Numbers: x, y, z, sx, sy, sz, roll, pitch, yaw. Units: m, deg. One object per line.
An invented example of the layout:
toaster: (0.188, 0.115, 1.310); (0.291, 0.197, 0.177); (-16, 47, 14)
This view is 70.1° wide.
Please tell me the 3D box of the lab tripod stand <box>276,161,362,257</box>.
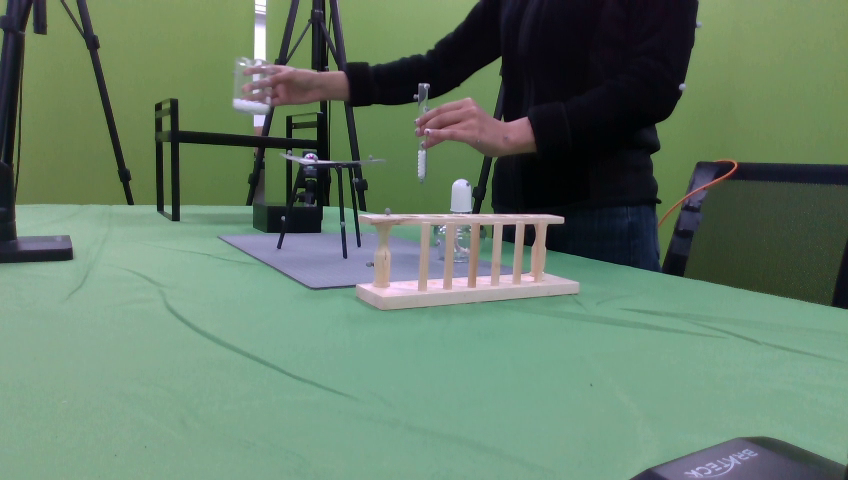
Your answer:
lab tripod stand: (-0.143, -0.049, 0.884); (0.148, 0.131, 0.148); (2, 9, 0)

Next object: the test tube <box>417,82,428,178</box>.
test tube: (-0.003, -0.173, 0.961); (0.017, 0.150, 0.017); (1, 9, 0)

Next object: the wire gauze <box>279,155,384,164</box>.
wire gauze: (-0.134, -0.114, 0.875); (0.122, 0.011, 0.124); (-1, 9, -30)

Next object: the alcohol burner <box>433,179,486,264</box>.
alcohol burner: (0.051, -0.027, 0.863); (0.078, 0.119, 0.078); (2, 6, 0)

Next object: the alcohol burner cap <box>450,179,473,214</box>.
alcohol burner cap: (0.053, -0.062, 0.859); (0.034, 0.048, 0.034); (0, 15, 0)

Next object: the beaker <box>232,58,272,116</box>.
beaker: (-0.340, -0.300, 1.188); (0.074, 0.100, 0.084); (3, 4, -10)

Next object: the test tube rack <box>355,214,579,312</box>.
test tube rack: (0.053, 0.018, 0.640); (0.243, 0.085, 0.066); (-1, 8, -29)
